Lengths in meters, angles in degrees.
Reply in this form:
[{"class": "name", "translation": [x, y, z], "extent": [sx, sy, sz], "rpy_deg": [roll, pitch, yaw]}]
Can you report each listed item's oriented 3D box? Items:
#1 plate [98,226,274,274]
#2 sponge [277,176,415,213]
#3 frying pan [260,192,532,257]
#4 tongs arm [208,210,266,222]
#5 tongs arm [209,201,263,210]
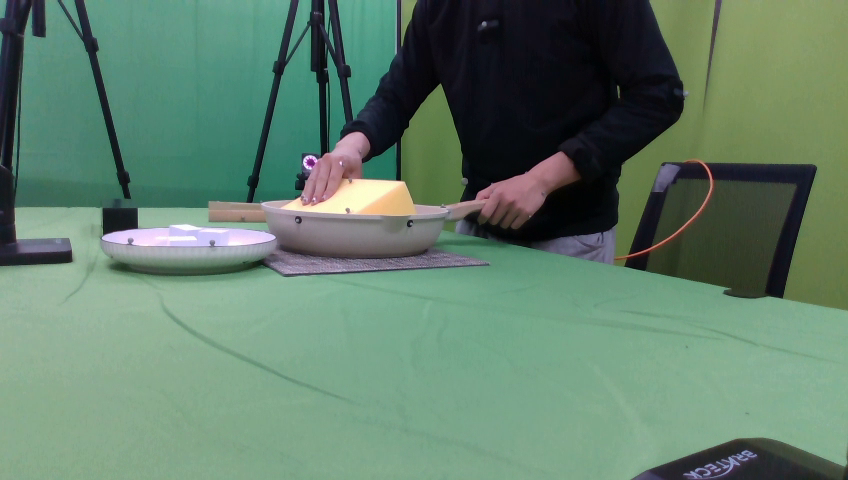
[{"class": "plate", "translation": [-0.301, 0.012, 0.778], "extent": [0.208, 0.039, 0.207], "rpy_deg": [3, 7, 0]}, {"class": "sponge", "translation": [-0.128, -0.045, 0.951], "extent": [0.118, 0.061, 0.206], "rpy_deg": [-38, 30, -32]}, {"class": "frying pan", "translation": [-0.017, -0.043, 1.006], "extent": [0.490, 0.102, 0.305], "rpy_deg": [-11, 13, -26]}, {"class": "tongs arm", "translation": [-0.280, -0.055, 1.355], "extent": [0.389, 0.028, 0.028], "rpy_deg": [-2, 6, -28]}, {"class": "tongs arm", "translation": [-0.306, -0.070, 1.429], "extent": [0.386, 0.026, 0.050], "rpy_deg": [1, 9, -15]}]
